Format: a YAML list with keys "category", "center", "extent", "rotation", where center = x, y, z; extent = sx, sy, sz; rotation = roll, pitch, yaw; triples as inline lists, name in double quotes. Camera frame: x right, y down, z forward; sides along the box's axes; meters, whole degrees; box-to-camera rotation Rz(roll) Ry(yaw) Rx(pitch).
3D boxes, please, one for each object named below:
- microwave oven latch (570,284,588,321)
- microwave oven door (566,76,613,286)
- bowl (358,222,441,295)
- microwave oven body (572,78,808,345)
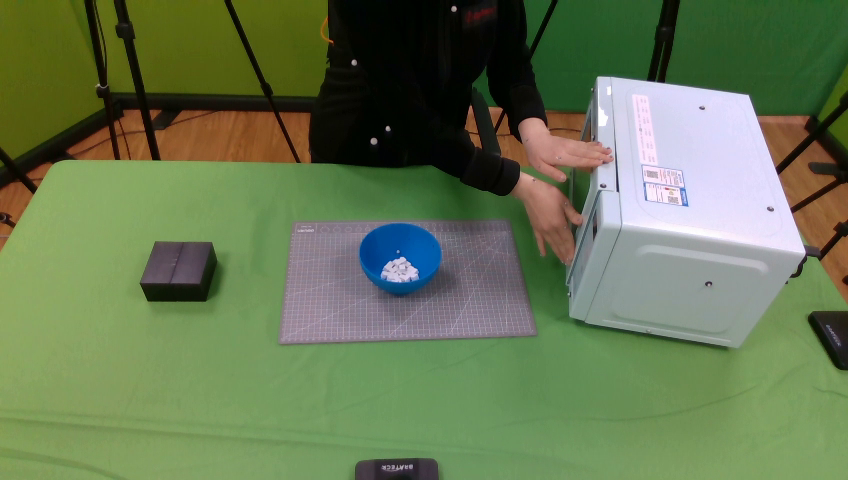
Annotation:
- category: "microwave oven latch"
  center: [0.276, 0.106, 1.082]
  extent: [0.030, 0.029, 0.079]
  rotation: [10, 45, 7]
- category: "microwave oven door"
  center: [0.316, -0.120, 1.160]
  extent: [0.039, 0.245, 0.354]
  rotation: [9, 46, 5]
- category: "bowl"
  center: [-0.046, 0.046, 1.107]
  extent: [0.151, 0.077, 0.150]
  rotation: [2, 45, -2]
- category: "microwave oven body"
  center: [0.456, -0.063, 1.124]
  extent: [0.326, 0.261, 0.439]
  rotation: [8, 45, 5]
